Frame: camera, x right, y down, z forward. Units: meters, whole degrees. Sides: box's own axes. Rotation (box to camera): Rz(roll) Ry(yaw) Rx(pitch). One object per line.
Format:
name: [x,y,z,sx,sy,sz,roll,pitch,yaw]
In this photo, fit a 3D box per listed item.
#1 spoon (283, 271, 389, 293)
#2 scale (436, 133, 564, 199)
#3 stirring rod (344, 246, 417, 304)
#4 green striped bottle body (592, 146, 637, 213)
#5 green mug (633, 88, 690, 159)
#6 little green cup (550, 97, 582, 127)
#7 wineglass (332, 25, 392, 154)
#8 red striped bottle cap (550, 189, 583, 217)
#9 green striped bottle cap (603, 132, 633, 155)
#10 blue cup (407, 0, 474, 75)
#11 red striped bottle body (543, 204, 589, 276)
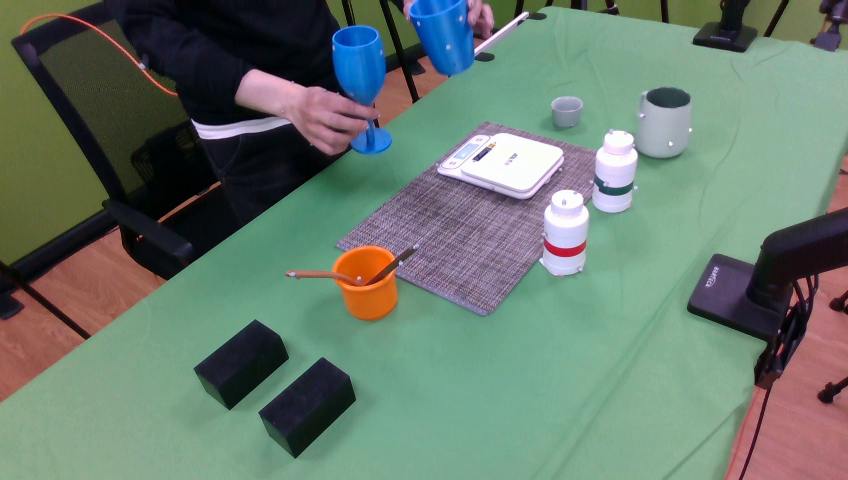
spoon: [-0.117,0.054,0.825,0.041,0.195,0.021,16,89,38]
scale: [0.137,-0.142,1.101,0.199,0.032,0.149,22,48,30]
stirring rod: [-0.062,0.050,0.819,0.014,0.175,0.006,-2,64,-41]
green striped bottle body: [0.307,-0.108,0.976,0.063,0.120,0.063,-4,41,4]
green mug: [0.423,-0.217,1.099,0.093,0.105,0.124,-16,41,-10]
little green cup: [0.284,-0.255,1.213,0.061,0.039,0.061,-4,41,4]
wineglass: [-0.087,-0.212,0.868,0.074,0.173,0.073,-2,45,2]
red striped bottle cap: [0.199,-0.052,0.843,0.044,0.018,0.044,-2,42,2]
green striped bottle cap: [0.302,-0.149,0.939,0.044,0.020,0.044,-3,40,3]
blue cup: [0.032,-0.299,0.875,0.092,0.101,0.092,-12,43,12]
red striped bottle body: [0.205,-0.011,0.878,0.063,0.120,0.062,-5,41,4]
